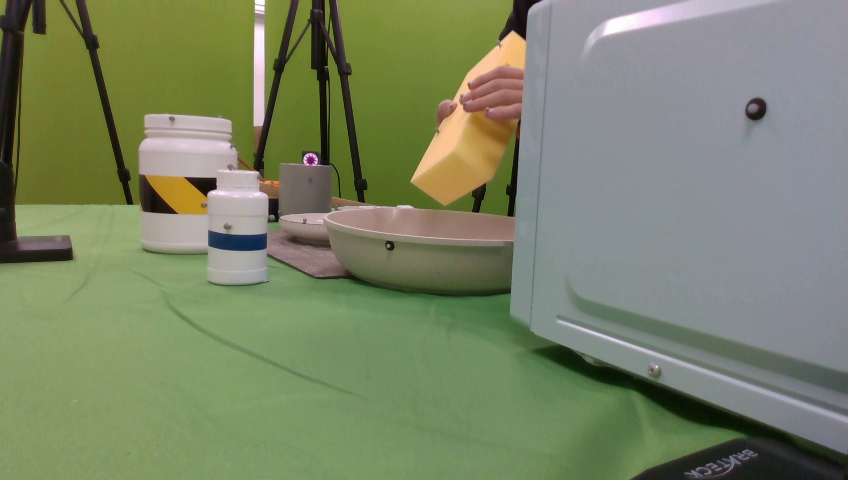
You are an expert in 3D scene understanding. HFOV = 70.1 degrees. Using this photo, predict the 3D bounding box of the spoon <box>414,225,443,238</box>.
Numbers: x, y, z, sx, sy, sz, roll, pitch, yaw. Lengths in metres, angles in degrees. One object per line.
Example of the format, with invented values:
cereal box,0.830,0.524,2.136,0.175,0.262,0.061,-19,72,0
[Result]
spoon,0.017,-0.020,1.113,0.041,0.021,0.194,-14,3,11

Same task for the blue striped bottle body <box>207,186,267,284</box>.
blue striped bottle body,-0.204,-0.016,0.663,0.063,0.120,0.063,2,7,0

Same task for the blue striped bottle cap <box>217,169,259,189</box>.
blue striped bottle cap,-0.202,-0.067,0.656,0.044,0.020,0.044,0,10,0

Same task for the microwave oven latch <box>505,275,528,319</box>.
microwave oven latch,0.100,0.042,0.471,0.079,0.029,0.030,-1,7,-29

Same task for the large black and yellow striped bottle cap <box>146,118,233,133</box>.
large black and yellow striped bottle cap,-0.333,-0.163,0.861,0.115,0.019,0.115,1,9,0

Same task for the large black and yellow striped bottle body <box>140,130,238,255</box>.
large black and yellow striped bottle body,-0.336,-0.078,0.871,0.131,0.184,0.130,2,8,0

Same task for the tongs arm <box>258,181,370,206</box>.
tongs arm,-0.241,-0.095,1.373,0.387,0.026,0.050,9,-1,-37

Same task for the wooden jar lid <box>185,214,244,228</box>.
wooden jar lid,-0.404,-0.037,1.169,0.108,0.020,0.108,3,7,0

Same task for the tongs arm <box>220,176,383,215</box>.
tongs arm,-0.285,-0.103,1.445,0.389,0.027,0.028,9,-4,-23

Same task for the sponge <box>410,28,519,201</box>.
sponge,0.070,-0.162,0.789,0.061,0.207,0.118,33,-27,-16

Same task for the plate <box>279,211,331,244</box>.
plate,-0.139,-0.022,1.021,0.209,0.038,0.209,2,8,0

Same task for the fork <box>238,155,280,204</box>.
fork,-0.396,-0.143,1.486,0.028,0.018,0.208,19,-26,44

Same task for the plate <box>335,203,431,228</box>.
plate,-0.089,-0.053,1.309,0.208,0.039,0.207,2,8,0

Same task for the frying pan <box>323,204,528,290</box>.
frying pan,0.110,-0.018,0.801,0.490,0.102,0.305,-12,16,-30

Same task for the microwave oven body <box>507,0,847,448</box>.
microwave oven body,0.331,-0.042,0.425,0.444,0.260,0.324,-2,8,-31

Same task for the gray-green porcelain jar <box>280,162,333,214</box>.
gray-green porcelain jar,-0.238,-0.092,1.221,0.106,0.126,0.106,2,7,0

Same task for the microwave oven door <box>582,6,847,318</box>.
microwave oven door,0.295,-0.067,0.569,0.358,0.243,0.039,-3,8,-31
